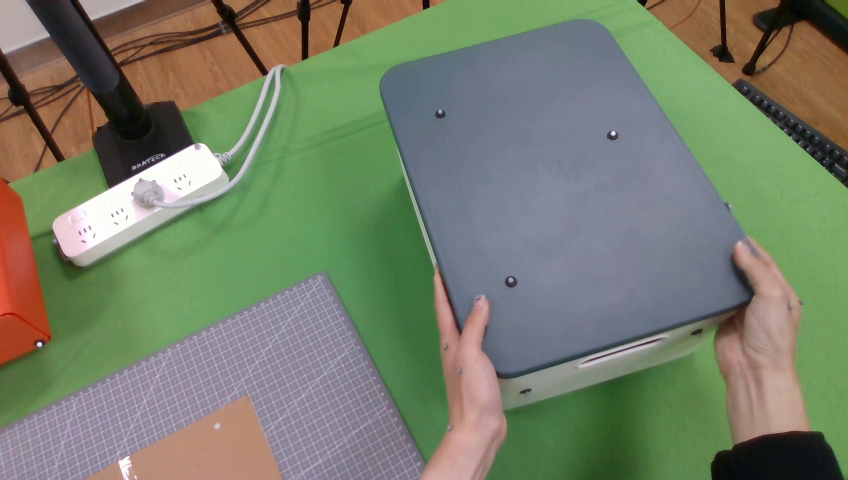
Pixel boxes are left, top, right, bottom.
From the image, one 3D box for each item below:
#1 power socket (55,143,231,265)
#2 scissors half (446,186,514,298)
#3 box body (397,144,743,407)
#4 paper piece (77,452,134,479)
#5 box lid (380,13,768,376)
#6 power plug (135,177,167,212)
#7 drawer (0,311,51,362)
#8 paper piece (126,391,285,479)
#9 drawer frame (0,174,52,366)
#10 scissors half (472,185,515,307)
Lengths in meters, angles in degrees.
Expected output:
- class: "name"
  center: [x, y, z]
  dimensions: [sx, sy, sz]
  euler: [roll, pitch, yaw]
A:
- class: "power socket"
  center: [-0.351, -0.048, 0.763]
  dimensions: [0.227, 0.033, 0.071]
  euler: [-32, 64, -14]
- class: "scissors half"
  center: [0.071, -0.004, 0.714]
  dimensions: [0.040, 0.013, 0.174]
  euler: [27, 59, 12]
- class: "box body"
  center: [0.125, -0.032, 0.646]
  dimensions: [0.254, 0.162, 0.360]
  euler: [-16, 60, -5]
- class: "paper piece"
  center: [-0.329, 0.297, 0.574]
  dimensions: [0.136, 0.009, 0.137]
  euler: [-28, 64, -8]
- class: "box lid"
  center: [0.120, -0.069, 0.580]
  dimensions: [0.263, 0.015, 0.367]
  euler: [-17, 60, -4]
- class: "power plug"
  center: [-0.328, -0.045, 0.733]
  dimensions: [0.035, 0.053, 0.072]
  euler: [-23, 61, -10]
- class: "drawer"
  center: [-0.523, 0.052, 0.637]
  dimensions: [0.194, 0.074, 0.209]
  euler: [-26, 61, -10]
- class: "paper piece"
  center: [-0.213, 0.238, 0.600]
  dimensions: [0.135, 0.004, 0.134]
  euler: [-27, 62, -11]
- class: "drawer frame"
  center: [-0.525, 0.051, 0.638]
  dimensions: [0.202, 0.083, 0.211]
  euler: [-26, 61, -11]
- class: "scissors half"
  center: [0.090, 0.003, 0.712]
  dimensions: [0.040, 0.013, 0.174]
  euler: [16, 58, -1]
